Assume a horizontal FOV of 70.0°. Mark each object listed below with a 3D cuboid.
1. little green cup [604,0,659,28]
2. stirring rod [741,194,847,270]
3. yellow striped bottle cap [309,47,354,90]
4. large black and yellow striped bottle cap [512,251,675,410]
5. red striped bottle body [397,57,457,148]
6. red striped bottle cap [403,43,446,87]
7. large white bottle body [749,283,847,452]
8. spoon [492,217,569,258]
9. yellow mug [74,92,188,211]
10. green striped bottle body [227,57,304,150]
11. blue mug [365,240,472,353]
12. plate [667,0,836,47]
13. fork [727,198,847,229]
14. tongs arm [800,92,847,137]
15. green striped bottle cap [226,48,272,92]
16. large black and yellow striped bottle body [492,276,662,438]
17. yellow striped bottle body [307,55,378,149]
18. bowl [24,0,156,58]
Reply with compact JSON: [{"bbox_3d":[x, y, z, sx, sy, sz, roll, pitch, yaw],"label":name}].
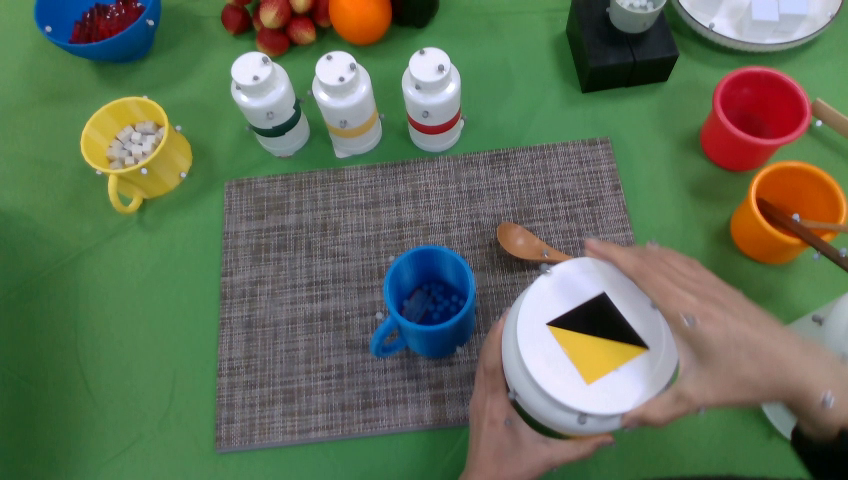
[{"bbox_3d":[0.235,-0.273,0.687,0.061,0.039,0.061,-1,66,2],"label":"little green cup"},{"bbox_3d":[0.353,-0.012,0.578,0.014,0.006,0.174,-4,25,-1],"label":"stirring rod"},{"bbox_3d":[-0.095,-0.177,0.622,0.044,0.019,0.044,1,64,-1],"label":"yellow striped bottle cap"},{"bbox_3d":[0.121,0.064,0.437,0.115,0.019,0.114,-2,72,6],"label":"large black and yellow striped bottle cap"},{"bbox_3d":[0.004,-0.159,0.666,0.063,0.120,0.062,-1,67,3],"label":"red striped bottle body"},{"bbox_3d":[0.001,-0.179,0.617,0.044,0.018,0.044,0,66,0],"label":"red striped bottle cap"},{"bbox_3d":[0.373,0.103,0.503,0.130,0.186,0.129,-1,67,4],"label":"large white bottle body"},{"bbox_3d":[0.160,0.024,0.632,0.193,0.022,0.041,23,50,11],"label":"spoon"},{"bbox_3d":[-0.335,-0.095,0.690,0.100,0.064,0.130,3,69,5],"label":"yellow mug"},{"bbox_3d":[-0.177,-0.157,0.676,0.063,0.120,0.062,-1,68,3],"label":"green striped bottle body"},{"bbox_3d":[-0.008,0.067,0.580,0.116,0.106,0.082,-39,70,-11],"label":"blue mug"},{"bbox_3d":[0.396,-0.321,0.751,0.209,0.038,0.207,-1,69,3],"label":"plate"},{"bbox_3d":[0.382,-0.014,0.568,0.028,0.019,0.205,-34,25,-17],"label":"fork"},{"bbox_3d":[0.577,-0.047,0.632,0.051,0.027,0.382,-41,72,-16],"label":"tongs arm"},{"bbox_3d":[-0.181,-0.177,0.628,0.044,0.020,0.044,-1,66,3],"label":"green striped bottle cap"},{"bbox_3d":[0.126,0.096,0.517,0.131,0.185,0.130,-1,68,4],"label":"large black and yellow striped bottle body"},{"bbox_3d":[-0.090,-0.157,0.671,0.063,0.121,0.062,-1,67,4],"label":"yellow striped bottle body"},{"bbox_3d":[-0.402,-0.285,0.763,0.151,0.077,0.150,-1,68,3],"label":"bowl"}]
